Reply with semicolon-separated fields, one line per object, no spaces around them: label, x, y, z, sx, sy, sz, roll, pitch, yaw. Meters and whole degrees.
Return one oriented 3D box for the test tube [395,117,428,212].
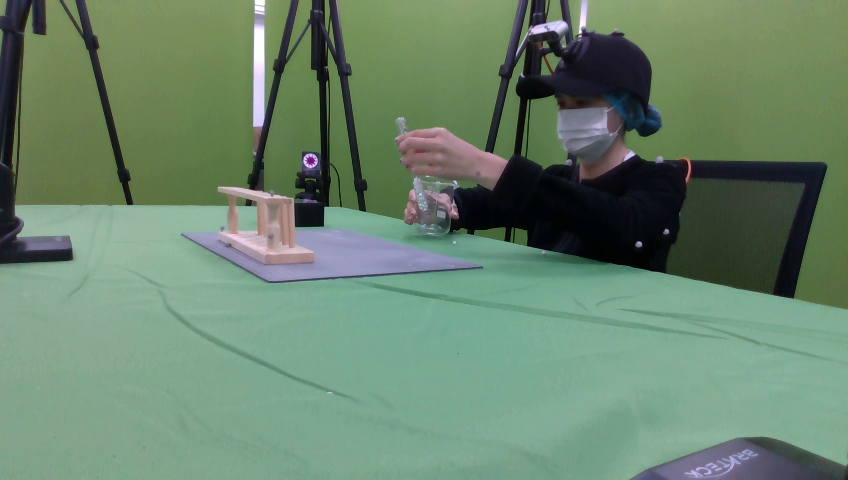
test tube;-0.019;-0.117;0.938;0.017;0.150;0.017;-15;1;1

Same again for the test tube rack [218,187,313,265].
test tube rack;-0.235;-0.027;0.872;0.067;0.085;0.241;-2;8;-32

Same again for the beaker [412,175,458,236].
beaker;0.019;-0.062;1.109;0.084;0.100;0.074;10;17;16
